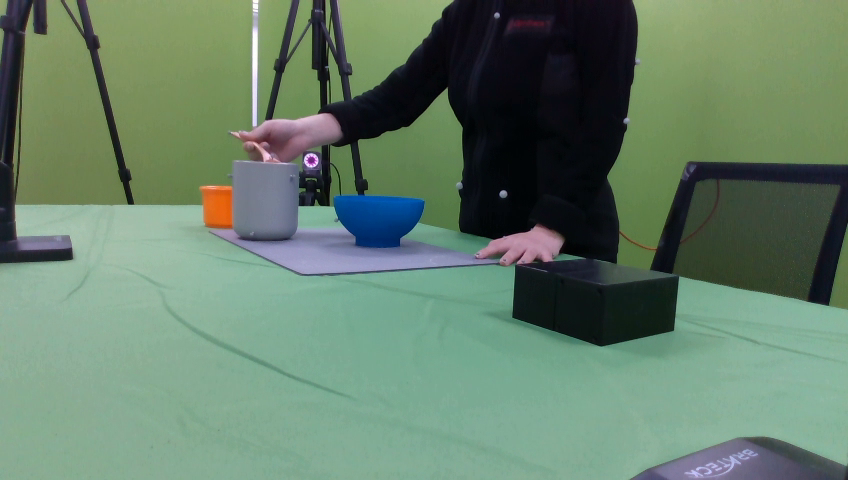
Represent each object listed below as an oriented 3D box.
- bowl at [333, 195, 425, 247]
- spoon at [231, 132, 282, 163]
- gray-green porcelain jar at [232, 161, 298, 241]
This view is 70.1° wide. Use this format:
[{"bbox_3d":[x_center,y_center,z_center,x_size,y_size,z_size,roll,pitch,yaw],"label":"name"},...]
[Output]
[{"bbox_3d":[-0.074,-0.031,0.987,0.151,0.077,0.151,2,7,0],"label":"bowl"},{"bbox_3d":[-0.284,-0.155,1.038,0.042,0.021,0.192,-7,33,-41],"label":"spoon"},{"bbox_3d":[-0.262,-0.065,0.999,0.106,0.126,0.106,3,7,0],"label":"gray-green porcelain jar"}]
